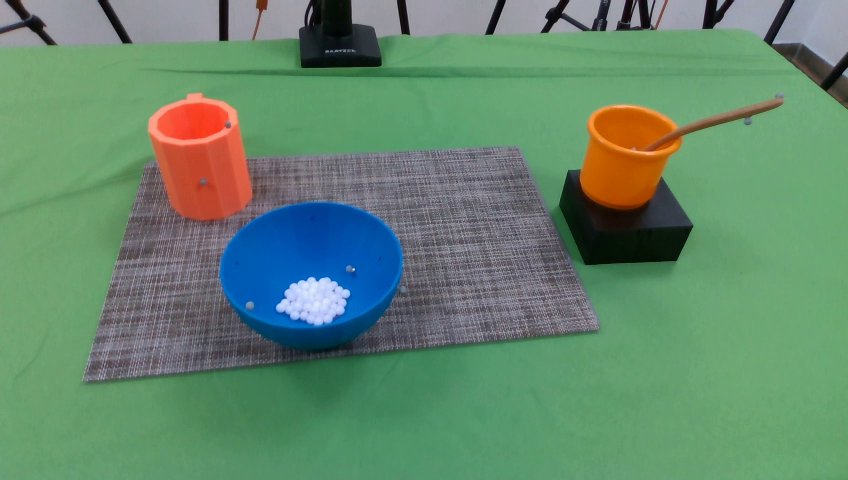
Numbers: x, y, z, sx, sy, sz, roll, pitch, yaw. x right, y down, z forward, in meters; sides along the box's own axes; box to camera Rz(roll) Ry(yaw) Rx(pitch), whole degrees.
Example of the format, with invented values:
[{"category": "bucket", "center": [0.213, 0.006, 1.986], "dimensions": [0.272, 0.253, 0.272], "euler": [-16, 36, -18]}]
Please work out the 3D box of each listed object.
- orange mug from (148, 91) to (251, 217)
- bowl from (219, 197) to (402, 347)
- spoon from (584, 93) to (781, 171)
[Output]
[{"category": "orange mug", "center": [-0.239, -0.101, 0.650], "dimensions": [0.084, 0.101, 0.125], "euler": [-10, 50, -14]}, {"category": "bowl", "center": [-0.094, 0.040, 0.530], "dimensions": [0.151, 0.077, 0.150], "euler": [3, 43, -2]}, {"category": "spoon", "center": [0.240, -0.103, 0.586], "dimensions": [0.041, 0.193, 0.022], "euler": [-43, 103, -41]}]
